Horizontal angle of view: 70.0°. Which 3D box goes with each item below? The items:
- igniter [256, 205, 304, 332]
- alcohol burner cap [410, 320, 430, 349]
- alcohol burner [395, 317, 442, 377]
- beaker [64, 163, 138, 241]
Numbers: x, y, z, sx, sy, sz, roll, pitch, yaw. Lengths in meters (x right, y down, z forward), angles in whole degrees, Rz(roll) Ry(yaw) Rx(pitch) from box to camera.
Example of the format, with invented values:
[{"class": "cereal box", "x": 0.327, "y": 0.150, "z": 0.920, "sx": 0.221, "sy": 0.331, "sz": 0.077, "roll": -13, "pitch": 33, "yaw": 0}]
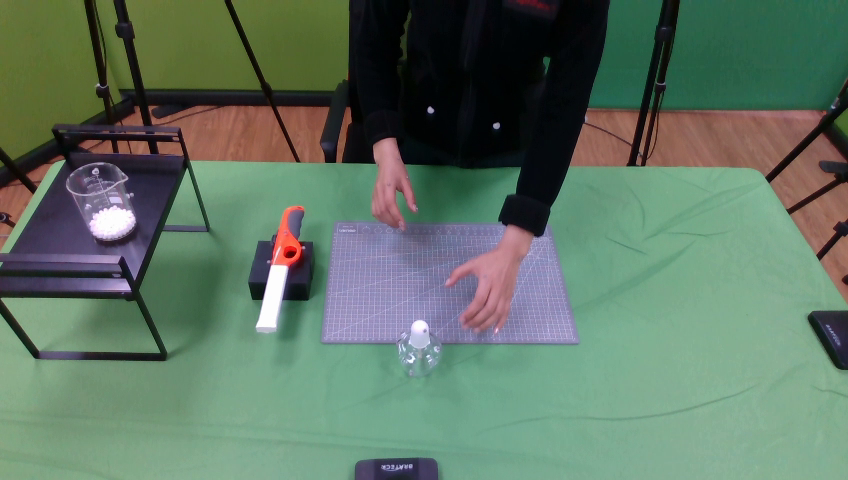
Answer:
[{"class": "igniter", "x": -0.252, "y": 0.040, "z": 1.070, "sx": 0.057, "sy": 0.025, "sz": 0.275, "roll": 3, "pitch": 49, "yaw": -1}, {"class": "alcohol burner cap", "x": -0.007, "y": 0.145, "z": 0.950, "sx": 0.034, "sy": 0.048, "sz": 0.033, "roll": 0, "pitch": 47, "yaw": 0}, {"class": "alcohol burner", "x": -0.009, "y": 0.166, "z": 0.971, "sx": 0.078, "sy": 0.120, "sz": 0.077, "roll": 0, "pitch": 45, "yaw": 0}, {"class": "beaker", "x": -0.477, "y": -0.055, "z": 0.910, "sx": 0.084, "sy": 0.101, "sz": 0.073, "roll": -9, "pitch": 48, "yaw": -13}]
